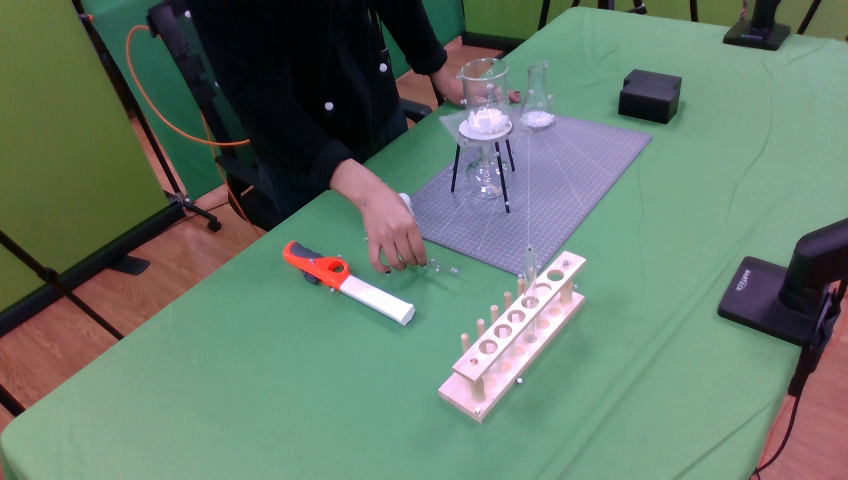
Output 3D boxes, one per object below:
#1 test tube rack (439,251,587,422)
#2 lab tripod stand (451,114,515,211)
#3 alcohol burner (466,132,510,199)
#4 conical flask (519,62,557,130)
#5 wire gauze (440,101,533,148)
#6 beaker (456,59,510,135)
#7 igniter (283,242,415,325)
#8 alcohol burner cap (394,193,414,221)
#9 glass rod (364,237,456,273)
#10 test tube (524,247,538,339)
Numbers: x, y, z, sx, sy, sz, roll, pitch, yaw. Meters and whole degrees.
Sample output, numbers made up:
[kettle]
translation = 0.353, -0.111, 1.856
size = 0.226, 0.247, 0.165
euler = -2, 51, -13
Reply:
[test tube rack]
translation = 0.118, 0.111, 0.780
size = 0.066, 0.085, 0.243
euler = 26, 51, 34
[lab tripod stand]
translation = 0.113, -0.140, 1.037
size = 0.148, 0.132, 0.147
euler = -6, 38, 5
[alcohol burner]
translation = 0.110, -0.132, 1.044
size = 0.078, 0.119, 0.077
euler = -5, 38, 5
[conical flask]
translation = 0.225, -0.287, 1.198
size = 0.075, 0.122, 0.075
euler = -6, 40, 5
[wire gauze]
translation = 0.100, -0.189, 0.995
size = 0.125, 0.011, 0.120
euler = -16, 37, -6
[beaker]
translation = 0.098, -0.226, 0.964
size = 0.084, 0.101, 0.073
euler = -7, 39, 4
[igniter]
translation = -0.126, 0.062, 0.931
size = 0.274, 0.025, 0.057
euler = 23, 61, 33
[alcohol burner cap]
translation = -0.036, -0.059, 1.041
size = 0.034, 0.048, 0.033
euler = -5, 44, 6
[glass rod]
translation = -0.027, 0.022, 0.961
size = 0.198, 0.008, 0.008
euler = 19, 48, 39
[test tube]
translation = 0.133, 0.070, 0.749
size = 0.017, 0.151, 0.017
euler = -5, 38, 4
